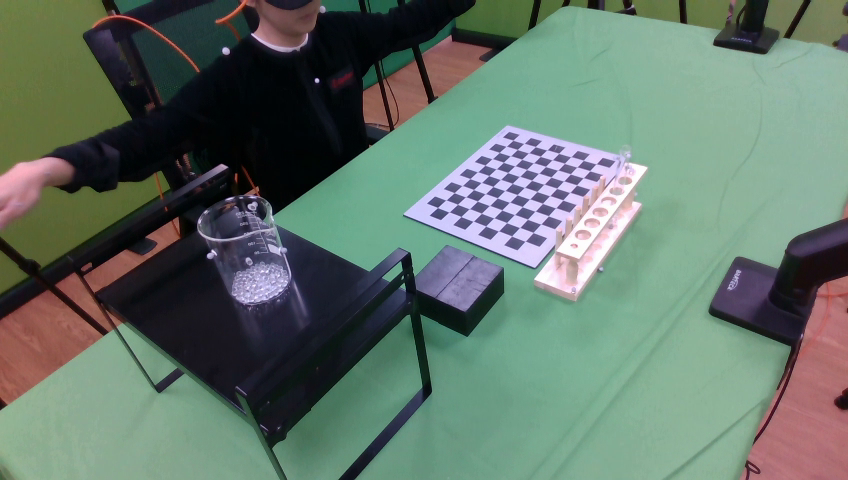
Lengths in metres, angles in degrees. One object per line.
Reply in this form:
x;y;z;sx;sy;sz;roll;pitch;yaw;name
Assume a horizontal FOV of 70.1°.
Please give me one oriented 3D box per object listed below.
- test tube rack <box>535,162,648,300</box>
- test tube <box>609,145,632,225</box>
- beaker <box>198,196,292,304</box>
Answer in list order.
0.257;-0.024;0.916;0.066;0.085;0.243;22;49;30;test tube rack
0.290;-0.078;0.897;0.017;0.151;0.017;-4;46;5;test tube
-0.185;0.014;0.651;0.083;0.101;0.074;9;44;18;beaker
